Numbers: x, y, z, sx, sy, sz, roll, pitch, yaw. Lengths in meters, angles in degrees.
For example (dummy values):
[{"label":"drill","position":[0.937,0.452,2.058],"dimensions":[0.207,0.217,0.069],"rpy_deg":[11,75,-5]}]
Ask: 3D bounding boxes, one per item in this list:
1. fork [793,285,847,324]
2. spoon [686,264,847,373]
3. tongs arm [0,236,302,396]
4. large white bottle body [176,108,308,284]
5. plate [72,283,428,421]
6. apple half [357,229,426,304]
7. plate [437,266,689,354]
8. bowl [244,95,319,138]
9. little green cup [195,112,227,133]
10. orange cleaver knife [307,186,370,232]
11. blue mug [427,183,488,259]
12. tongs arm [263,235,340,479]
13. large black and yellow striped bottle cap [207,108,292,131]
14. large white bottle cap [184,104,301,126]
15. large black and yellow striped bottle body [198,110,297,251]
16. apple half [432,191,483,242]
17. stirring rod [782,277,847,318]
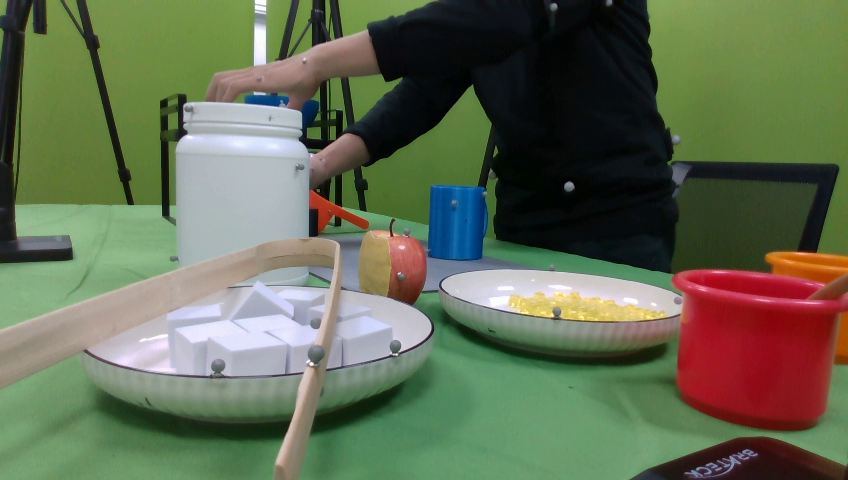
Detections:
[{"label":"fork","position":[0.332,0.018,0.442],"dimensions":[0.028,0.018,0.207],"rpy_deg":[-1,-36,-15]},{"label":"spoon","position":[0.214,0.032,0.328],"dimensions":[0.042,0.021,0.193],"rpy_deg":[-3,-35,-26]},{"label":"tongs arm","position":[-0.158,0.038,0.351],"dimensions":[0.028,0.028,0.388],"rpy_deg":[-3,8,12]},{"label":"large white bottle body","position":[-0.187,-0.042,0.630],"dimensions":[0.131,0.184,0.130],"rpy_deg":[2,8,0]},{"label":"plate","position":[-0.102,0.066,0.381],"dimensions":[0.208,0.039,0.207],"rpy_deg":[2,7,0]},{"label":"apple half","position":[-0.026,0.028,0.570],"dimensions":[0.053,0.074,0.080],"rpy_deg":[3,2,-28]},{"label":"plate","position":[0.113,0.057,0.517],"dimensions":[0.209,0.038,0.209],"rpy_deg":[3,7,0]},{"label":"bowl","position":[-0.293,-0.251,1.249],"dimensions":[0.151,0.077,0.151],"rpy_deg":[2,8,0]},{"label":"little green cup","position":[-0.412,-0.228,1.171],"dimensions":[0.061,0.038,0.061],"rpy_deg":[3,8,0]},{"label":"orange cleaver knife","position":[-0.197,-0.056,1.140],"dimensions":[0.212,0.077,0.012],"rpy_deg":[29,0,-34]},{"label":"blue mug","position":[0.059,-0.031,0.907],"dimensions":[0.082,0.106,0.117],"rpy_deg":[9,10,42]},{"label":"tongs arm","position":[-0.074,0.039,0.349],"dimensions":[0.051,0.026,0.384],"rpy_deg":[-2,10,-3]},{"label":"large black and yellow striped bottle cap","position":[-0.243,-0.169,0.848],"dimensions":[0.115,0.019,0.115],"rpy_deg":[8,13,-1]},{"label":"large white bottle cap","position":[-0.184,-0.126,0.618],"dimensions":[0.115,0.018,0.115],"rpy_deg":[2,8,0]},{"label":"large black and yellow striped bottle body","position":[-0.252,-0.088,0.868],"dimensions":[0.131,0.184,0.130],"rpy_deg":[7,14,-1]},{"label":"apple half","position":[0.049,-0.036,0.906],"dimensions":[0.081,0.081,0.033],"rpy_deg":[2,15,-2]},{"label":"stirring rod","position":[0.344,0.019,0.460],"dimensions":[0.014,0.006,0.176],"rpy_deg":[-13,-27,-30]}]
